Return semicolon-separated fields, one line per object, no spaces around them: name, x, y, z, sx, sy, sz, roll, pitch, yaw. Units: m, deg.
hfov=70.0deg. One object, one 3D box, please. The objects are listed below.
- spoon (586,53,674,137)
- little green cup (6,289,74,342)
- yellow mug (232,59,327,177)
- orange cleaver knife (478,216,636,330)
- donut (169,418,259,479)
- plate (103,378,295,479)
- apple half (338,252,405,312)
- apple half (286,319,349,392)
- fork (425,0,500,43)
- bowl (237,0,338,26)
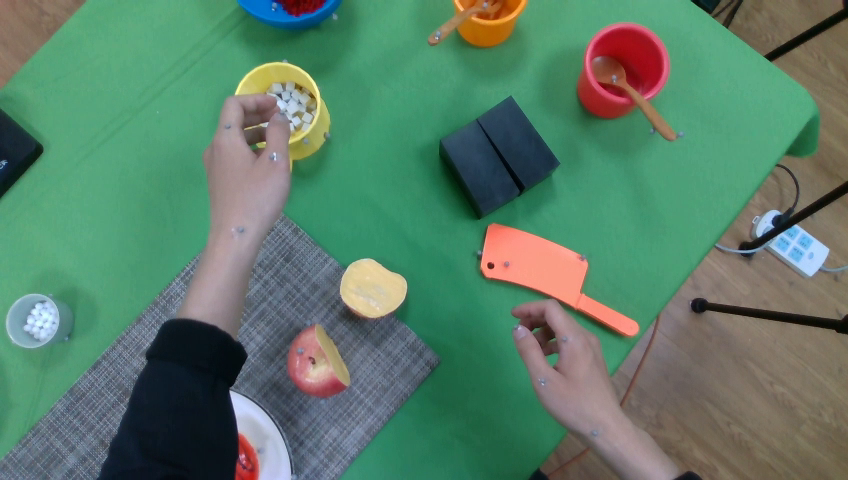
spoon;0.233;-0.168;0.688;0.041;0.191;0.022;-12;128;-2
little green cup;-0.444;0.089;0.706;0.061;0.039;0.061;0;83;0
yellow mug;-0.169;-0.141;0.721;0.100;0.064;0.130;-1;84;-1
orange cleaver knife;0.161;0.039;0.725;0.211;0.012;0.077;26;79;4
donut;-0.232;0.247;0.672;0.099;0.048;0.099;0;85;-1
plate;-0.248;0.259;0.682;0.209;0.038;0.208;0;83;0
apple half;-0.065;0.056;0.708;0.081;0.033;0.080;9;50;-10
apple half;-0.125;0.135;0.681;0.053;0.075;0.080;-30;87;0
fork;0.048;-0.262;0.695;0.028;0.019;0.206;35;40;4
bowl;-0.160;-0.321;0.737;0.151;0.077;0.151;0;83;0
